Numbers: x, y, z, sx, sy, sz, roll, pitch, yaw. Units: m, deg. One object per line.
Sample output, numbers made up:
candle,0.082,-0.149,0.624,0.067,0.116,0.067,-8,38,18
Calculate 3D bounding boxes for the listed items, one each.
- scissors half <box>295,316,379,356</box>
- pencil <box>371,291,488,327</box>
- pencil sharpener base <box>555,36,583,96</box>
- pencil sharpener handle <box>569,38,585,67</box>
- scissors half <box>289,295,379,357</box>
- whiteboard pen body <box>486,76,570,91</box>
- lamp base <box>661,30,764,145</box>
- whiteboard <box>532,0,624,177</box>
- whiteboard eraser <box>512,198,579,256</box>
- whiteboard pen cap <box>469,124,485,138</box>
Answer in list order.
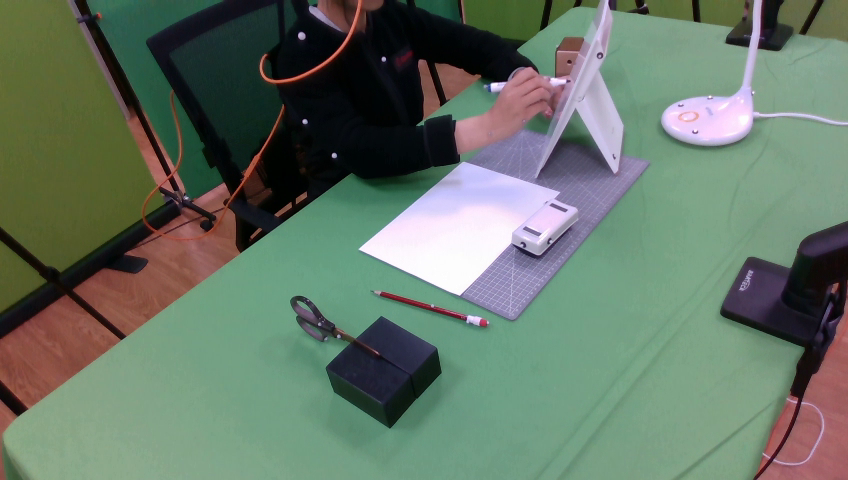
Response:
scissors half,-0.119,0.132,0.813,0.174,0.040,0.013,9,34,45
pencil,0.003,0.097,0.877,0.193,0.012,0.012,13,45,26
pencil sharpener base,0.318,-0.371,1.290,0.061,0.107,0.076,10,44,22
pencil sharpener handle,0.332,-0.413,1.318,0.036,0.068,0.030,19,46,13
scissors half,-0.122,0.114,0.803,0.174,0.040,0.013,26,50,32
whiteboard pen body,0.177,-0.267,1.031,0.140,0.017,0.017,-1,41,15
lamp base,0.535,-0.287,1.096,0.179,0.181,0.159,-10,40,-4
whiteboard,0.320,-0.258,1.050,0.144,0.306,0.217,21,45,4
whiteboard eraser,0.191,-0.019,0.949,0.055,0.042,0.113,26,51,36
whiteboard pen cap,0.107,-0.220,1.224,0.033,0.018,0.018,-38,48,-24
